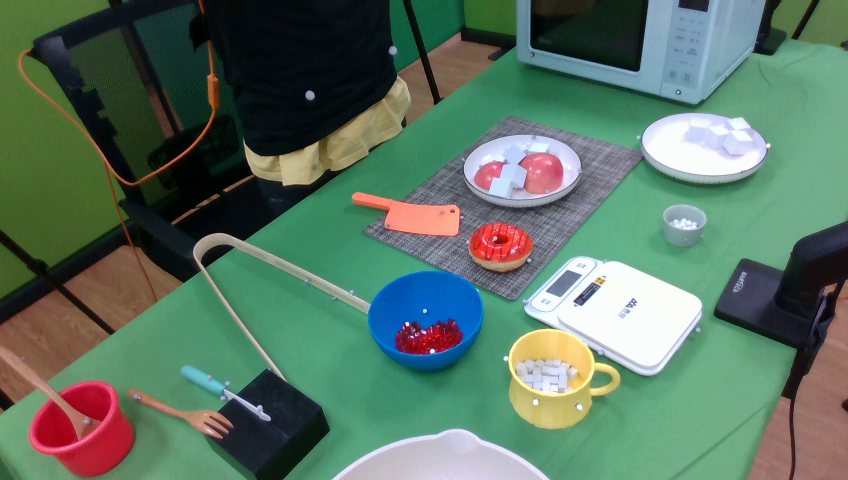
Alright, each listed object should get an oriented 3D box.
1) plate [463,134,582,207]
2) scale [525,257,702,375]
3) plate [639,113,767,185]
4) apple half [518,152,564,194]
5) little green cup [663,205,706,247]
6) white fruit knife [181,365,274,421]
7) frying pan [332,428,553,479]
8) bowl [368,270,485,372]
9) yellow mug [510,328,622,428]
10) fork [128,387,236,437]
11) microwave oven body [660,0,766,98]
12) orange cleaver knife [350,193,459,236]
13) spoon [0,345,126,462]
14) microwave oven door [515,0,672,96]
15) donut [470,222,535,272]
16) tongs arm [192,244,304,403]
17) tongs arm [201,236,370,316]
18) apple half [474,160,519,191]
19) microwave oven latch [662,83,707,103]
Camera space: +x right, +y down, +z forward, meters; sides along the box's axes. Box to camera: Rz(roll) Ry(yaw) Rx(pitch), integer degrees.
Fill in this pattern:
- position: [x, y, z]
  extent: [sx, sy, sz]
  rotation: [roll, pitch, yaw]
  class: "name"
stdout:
- position: [0.173, -0.119, 1.070]
  extent: [0.209, 0.038, 0.208]
  rotation: [-4, 40, 4]
  class: "plate"
- position: [0.254, 0.091, 0.821]
  extent: [0.199, 0.032, 0.149]
  rotation: [28, 51, 35]
  class: "scale"
- position: [0.489, -0.157, 1.074]
  extent: [0.207, 0.039, 0.206]
  rotation: [-4, 40, 4]
  class: "plate"
- position: [0.204, -0.124, 1.048]
  extent: [0.075, 0.053, 0.080]
  rotation: [-6, 41, -3]
  class: "apple half"
- position: [0.396, -0.021, 0.926]
  extent: [0.061, 0.039, 0.061]
  rotation: [-4, 40, 4]
  class: "little green cup"
- position: [-0.245, 0.187, 0.747]
  extent: [0.205, 0.027, 0.016]
  rotation: [9, 42, 40]
  class: "white fruit knife"
- position: [-0.089, 0.306, 0.564]
  extent: [0.487, 0.103, 0.306]
  rotation: [10, 41, 7]
  class: "frying pan"
- position: [0.007, 0.118, 0.791]
  extent: [0.151, 0.077, 0.150]
  rotation: [-5, 40, 4]
  class: "bowl"
- position: [0.168, 0.164, 0.722]
  extent: [0.130, 0.064, 0.099]
  rotation: [0, 40, 8]
  class: "yellow mug"
- position: [-0.305, 0.207, 0.744]
  extent: [0.206, 0.019, 0.028]
  rotation: [3, 41, 36]
  class: "fork"
- position: [0.472, -0.513, 1.317]
  extent: [0.438, 0.261, 0.327]
  rotation: [26, 51, 34]
  class: "microwave oven body"
- position: [-0.037, -0.044, 1.028]
  extent: [0.210, 0.012, 0.077]
  rotation: [10, 49, 17]
  class: "orange cleaver knife"
- position: [-0.434, 0.192, 0.720]
  extent: [0.194, 0.021, 0.042]
  rotation: [47, 53, -7]
  class: "spoon"
- position: [0.343, -0.454, 1.259]
  extent: [0.353, 0.245, 0.039]
  rotation: [26, 51, 33]
  class: "microwave oven door"
- position: [0.119, 0.009, 0.923]
  extent: [0.099, 0.048, 0.098]
  rotation: [-4, 38, 3]
  class: "donut"
- position: [-0.267, 0.109, 0.883]
  extent: [0.028, 0.028, 0.384]
  rotation: [-35, 46, -19]
  class: "tongs arm"
- position: [-0.209, 0.063, 0.924]
  extent: [0.381, 0.026, 0.051]
  rotation: [23, 52, 33]
  class: "tongs arm"
- position: [0.130, -0.120, 1.068]
  extent: [0.081, 0.033, 0.081]
  rotation: [-3, 37, 3]
  class: "apple half"
- position: [0.517, -0.296, 1.204]
  extent: [0.078, 0.029, 0.030]
  rotation: [28, 52, 35]
  class: "microwave oven latch"
